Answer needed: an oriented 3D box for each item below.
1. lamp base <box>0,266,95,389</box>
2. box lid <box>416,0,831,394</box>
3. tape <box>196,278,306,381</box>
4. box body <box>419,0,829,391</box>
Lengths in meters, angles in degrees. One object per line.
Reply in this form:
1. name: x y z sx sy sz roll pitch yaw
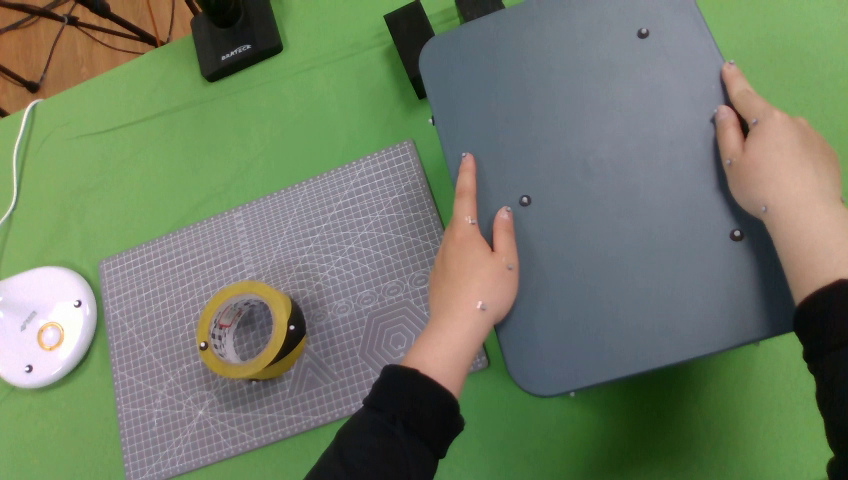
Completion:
1. lamp base: -0.528 0.086 0.719 0.178 0.182 0.160 18 78 20
2. box lid: 0.153 -0.074 0.538 0.263 0.015 0.368 -18 71 7
3. tape: -0.201 0.104 0.703 0.116 0.053 0.116 -4 72 11
4. box body: 0.170 -0.050 0.605 0.254 0.161 0.361 -18 70 7
